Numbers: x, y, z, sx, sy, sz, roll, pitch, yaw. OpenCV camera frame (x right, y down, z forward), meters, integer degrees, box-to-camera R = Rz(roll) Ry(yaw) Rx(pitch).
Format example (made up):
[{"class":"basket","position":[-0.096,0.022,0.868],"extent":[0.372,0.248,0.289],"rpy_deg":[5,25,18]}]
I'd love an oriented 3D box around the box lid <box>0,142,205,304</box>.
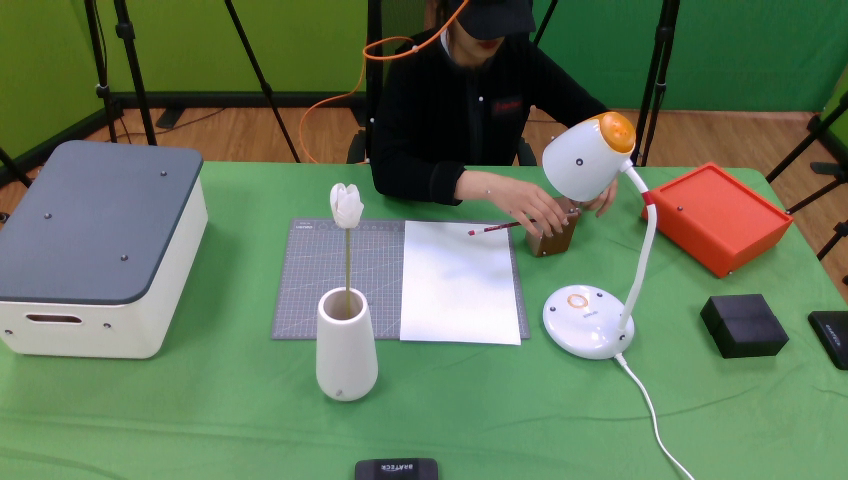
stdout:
[{"class":"box lid","position":[-0.534,-0.044,0.995],"extent":[0.263,0.015,0.369],"rpy_deg":[3,45,-3]}]

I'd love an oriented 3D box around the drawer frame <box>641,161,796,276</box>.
[{"class":"drawer frame","position":[0.599,-0.051,1.244],"extent":[0.202,0.083,0.212],"rpy_deg":[-24,52,-25]}]

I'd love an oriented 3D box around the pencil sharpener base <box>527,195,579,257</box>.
[{"class":"pencil sharpener base","position":[0.252,-0.028,1.181],"extent":[0.077,0.107,0.061],"rpy_deg":[-11,47,-14]}]

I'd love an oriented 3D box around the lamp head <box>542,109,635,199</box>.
[{"class":"lamp head","position":[0.253,-0.131,0.893],"extent":[0.113,0.123,0.112],"rpy_deg":[10,66,-24]}]

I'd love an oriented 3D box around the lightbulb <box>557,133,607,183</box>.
[{"class":"lightbulb","position":[0.242,-0.127,0.916],"extent":[0.059,0.108,0.059],"rpy_deg":[5,67,-12]}]

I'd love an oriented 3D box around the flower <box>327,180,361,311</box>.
[{"class":"flower","position":[-0.110,0.086,0.867],"extent":[0.044,0.363,0.038],"rpy_deg":[22,33,35]}]

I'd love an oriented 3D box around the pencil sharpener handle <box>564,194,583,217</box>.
[{"class":"pencil sharpener handle","position":[0.297,-0.069,1.182],"extent":[0.031,0.036,0.067],"rpy_deg":[-11,56,-14]}]

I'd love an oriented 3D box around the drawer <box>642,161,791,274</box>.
[{"class":"drawer","position":[0.596,-0.051,1.246],"extent":[0.194,0.073,0.210],"rpy_deg":[-23,53,-25]}]

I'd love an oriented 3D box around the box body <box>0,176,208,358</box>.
[{"class":"box body","position":[-0.546,0.017,1.045],"extent":[0.254,0.161,0.361],"rpy_deg":[2,46,-2]}]

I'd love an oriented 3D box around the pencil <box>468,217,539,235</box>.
[{"class":"pencil","position":[0.175,-0.032,1.143],"extent":[0.194,0.012,0.012],"rpy_deg":[-11,48,-13]}]

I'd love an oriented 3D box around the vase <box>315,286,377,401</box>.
[{"class":"vase","position":[-0.119,0.159,0.911],"extent":[0.098,0.201,0.097],"rpy_deg":[2,47,-2]}]

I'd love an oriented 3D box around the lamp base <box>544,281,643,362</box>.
[{"class":"lamp base","position":[0.304,0.095,1.014],"extent":[0.161,0.181,0.178],"rpy_deg":[-24,54,-24]}]
